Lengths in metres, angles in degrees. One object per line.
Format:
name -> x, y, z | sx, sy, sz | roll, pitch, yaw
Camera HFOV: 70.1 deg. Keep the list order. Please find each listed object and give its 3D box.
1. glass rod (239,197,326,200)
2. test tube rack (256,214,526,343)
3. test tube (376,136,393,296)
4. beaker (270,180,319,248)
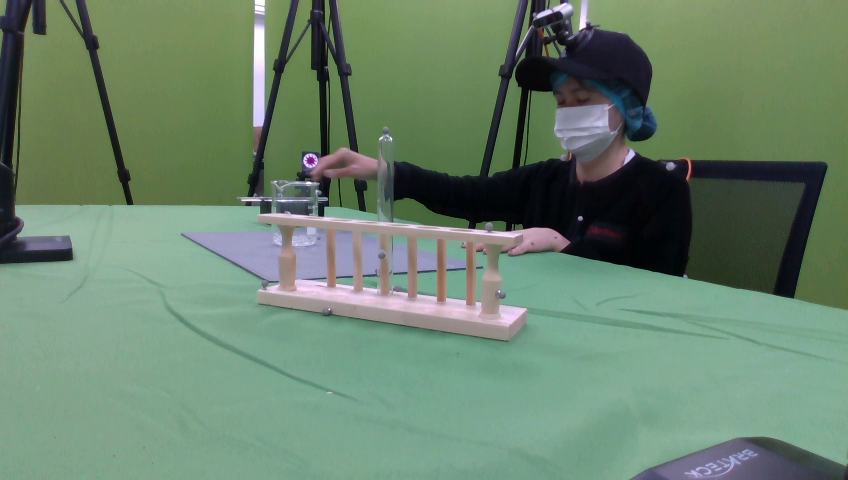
glass rod -> -0.288, -0.087, 1.250 | 0.201, 0.008, 0.008 | -4, 10, -42
test tube rack -> -0.032, 0.027, 0.547 | 0.241, 0.085, 0.067 | 5, 7, 22
test tube -> -0.037, -0.022, 0.565 | 0.017, 0.150, 0.017 | 1, 6, 0
beaker -> -0.203, -0.040, 0.935 | 0.074, 0.100, 0.084 | 5, 8, 18
